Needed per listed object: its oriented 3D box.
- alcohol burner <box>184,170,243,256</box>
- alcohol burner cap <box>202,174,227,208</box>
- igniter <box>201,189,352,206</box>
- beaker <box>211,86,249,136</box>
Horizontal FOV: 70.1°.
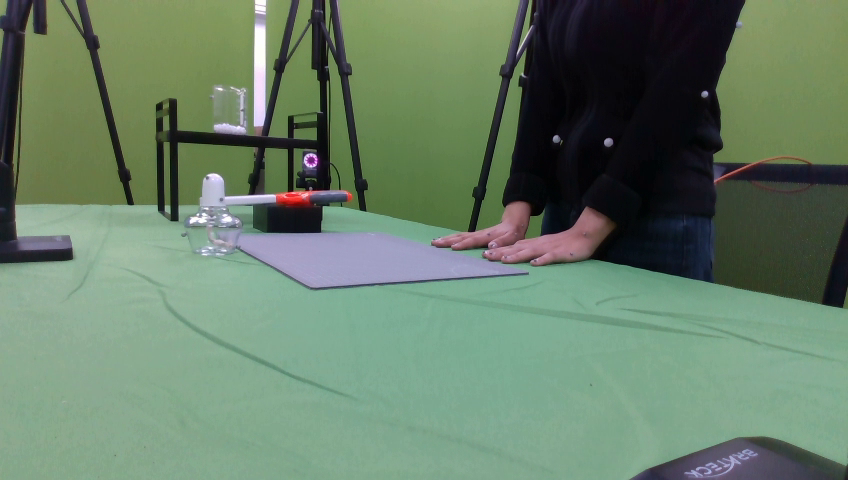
[{"bbox_3d":[-0.295,-0.038,0.851,0.078,0.119,0.078,2,5,0],"label":"alcohol burner"},{"bbox_3d":[-0.293,-0.068,0.846,0.034,0.048,0.034,0,6,0],"label":"alcohol burner cap"},{"bbox_3d":[-0.271,-0.078,1.139,0.278,0.025,0.057,-5,10,-27],"label":"igniter"},{"bbox_3d":[-0.413,-0.274,1.297,0.074,0.100,0.083,-5,11,-44],"label":"beaker"}]
